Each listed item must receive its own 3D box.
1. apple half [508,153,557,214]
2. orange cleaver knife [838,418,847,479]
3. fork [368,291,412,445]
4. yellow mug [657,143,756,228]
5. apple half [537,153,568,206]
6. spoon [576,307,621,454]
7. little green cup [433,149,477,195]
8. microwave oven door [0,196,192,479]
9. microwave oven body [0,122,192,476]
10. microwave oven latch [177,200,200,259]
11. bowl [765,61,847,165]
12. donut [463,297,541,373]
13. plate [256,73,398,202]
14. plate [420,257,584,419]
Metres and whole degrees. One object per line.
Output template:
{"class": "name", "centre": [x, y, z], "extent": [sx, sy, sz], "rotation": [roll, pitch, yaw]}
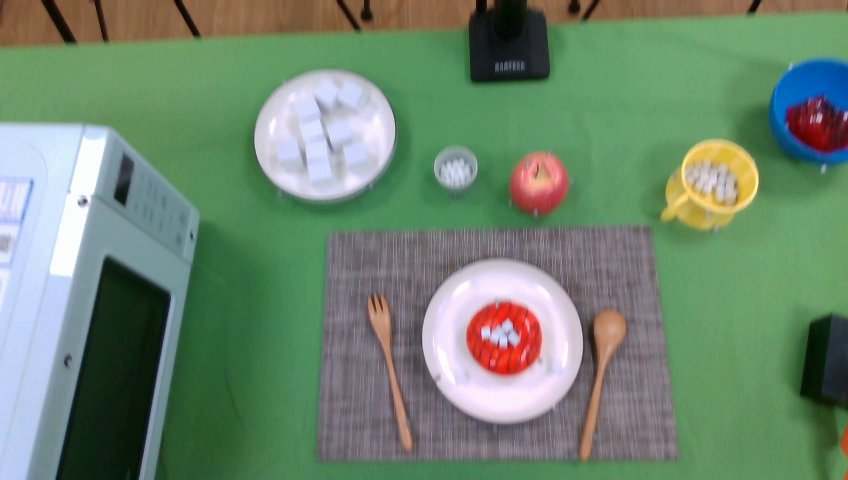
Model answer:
{"class": "apple half", "centre": [0.143, -0.071, 0.833], "extent": [0.053, 0.075, 0.080], "rotation": [-22, 75, 1]}
{"class": "orange cleaver knife", "centre": [0.507, 0.228, 0.704], "extent": [0.012, 0.077, 0.212], "rotation": [17, 105, 11]}
{"class": "fork", "centre": [-0.044, 0.162, 0.788], "extent": [0.028, 0.019, 0.206], "rotation": [-10, 71, -11]}
{"class": "yellow mug", "centre": [0.373, -0.065, 0.822], "extent": [0.131, 0.064, 0.099], "rotation": [-31, 73, -6]}
{"class": "apple half", "centre": [0.179, -0.085, 0.834], "extent": [0.033, 0.082, 0.080], "rotation": [-22, 71, 0]}
{"class": "spoon", "centre": [0.219, 0.175, 0.773], "extent": [0.041, 0.022, 0.193], "rotation": [14, 72, 8]}
{"class": "little green cup", "centre": [0.044, -0.095, 0.864], "extent": [0.061, 0.039, 0.061], "rotation": [-1, 71, 3]}
{"class": "microwave oven door", "centre": [-0.351, 0.159, 0.671], "extent": [0.039, 0.245, 0.353], "rotation": [2, 71, 4]}
{"class": "microwave oven body", "centre": [-0.494, 0.116, 0.699], "extent": [0.326, 0.262, 0.439], "rotation": [2, 72, 3]}
{"class": "microwave oven latch", "centre": [-0.332, -0.015, 0.836], "extent": [0.030, 0.030, 0.078], "rotation": [4, 72, 4]}
{"class": "bowl", "centre": [0.540, -0.161, 0.839], "extent": [0.151, 0.077, 0.150], "rotation": [-1, 72, 3]}
{"class": "donut", "centre": [0.100, 0.121, 0.772], "extent": [0.099, 0.048, 0.098], "rotation": [-1, 73, 4]}
{"class": "plate", "centre": [-0.140, -0.148, 0.891], "extent": [0.207, 0.039, 0.206], "rotation": [-1, 71, 3]}
{"class": "plate", "centre": [0.098, 0.125, 0.783], "extent": [0.209, 0.038, 0.207], "rotation": [-1, 71, 3]}
